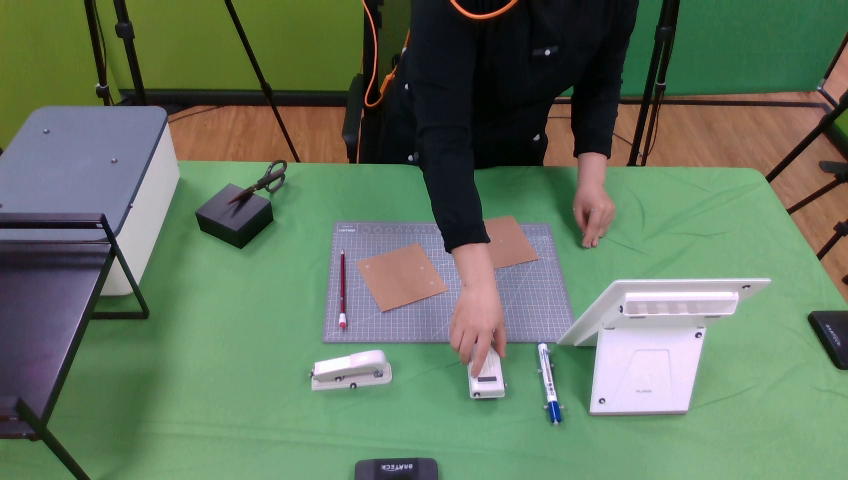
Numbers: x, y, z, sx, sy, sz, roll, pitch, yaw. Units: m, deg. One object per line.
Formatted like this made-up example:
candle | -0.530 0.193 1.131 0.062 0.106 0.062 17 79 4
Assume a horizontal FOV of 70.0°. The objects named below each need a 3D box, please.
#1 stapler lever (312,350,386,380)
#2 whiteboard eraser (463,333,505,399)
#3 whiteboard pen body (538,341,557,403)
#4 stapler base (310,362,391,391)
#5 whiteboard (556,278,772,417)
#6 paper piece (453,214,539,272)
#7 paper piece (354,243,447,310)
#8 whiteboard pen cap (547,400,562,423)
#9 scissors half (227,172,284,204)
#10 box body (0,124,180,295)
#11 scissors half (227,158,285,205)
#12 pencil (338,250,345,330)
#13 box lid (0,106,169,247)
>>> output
stapler lever | -0.120 0.199 0.963 0.118 0.040 0.026 -4 44 -8
whiteboard eraser | 0.097 0.207 0.993 0.055 0.042 0.112 0 45 -5
whiteboard pen body | 0.205 0.228 0.997 0.017 0.017 0.140 2 47 -3
stapler base | -0.119 0.215 0.980 0.131 0.024 0.041 -5 44 -7
whiteboard | 0.347 0.174 0.903 0.217 0.306 0.143 1 65 -4
paper piece | 0.142 0.003 1.213 0.135 0.004 0.135 -11 48 -14
paper piece | -0.046 0.066 1.137 0.136 0.009 0.137 -13 47 -23
whiteboard pen cap | 0.205 0.269 0.956 0.018 0.018 0.033 -1 48 -5
scissors half | -0.340 -0.101 1.231 0.013 0.040 0.175 21 28 17
box body | -0.628 -0.075 1.122 0.254 0.161 0.361 1 46 -4
scissors half | -0.337 -0.117 1.218 0.013 0.040 0.175 25 47 14
pencil | -0.152 0.085 1.107 0.012 0.012 0.192 -2 44 -7
box lid | -0.624 -0.125 1.067 0.263 0.015 0.369 0 46 -3
